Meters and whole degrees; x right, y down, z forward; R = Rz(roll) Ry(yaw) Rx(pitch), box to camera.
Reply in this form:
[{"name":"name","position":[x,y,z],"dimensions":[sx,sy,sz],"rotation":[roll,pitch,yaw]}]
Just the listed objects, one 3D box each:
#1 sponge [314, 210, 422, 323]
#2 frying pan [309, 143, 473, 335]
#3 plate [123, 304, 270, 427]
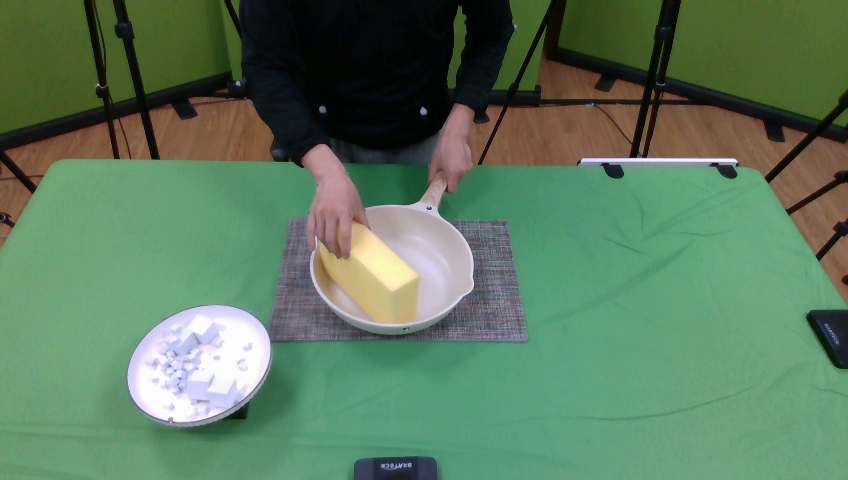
[{"name":"sponge","position":[-0.097,0.054,1.051],"dimensions":[0.206,0.119,0.061],"rotation":[37,58,27]},{"name":"frying pan","position":[-0.017,-0.022,1.155],"dimensions":[0.306,0.103,0.486],"rotation":[20,57,13]},{"name":"plate","position":[-0.336,0.189,0.913],"dimensions":[0.208,0.039,0.206],"rotation":[1,46,-1]}]
